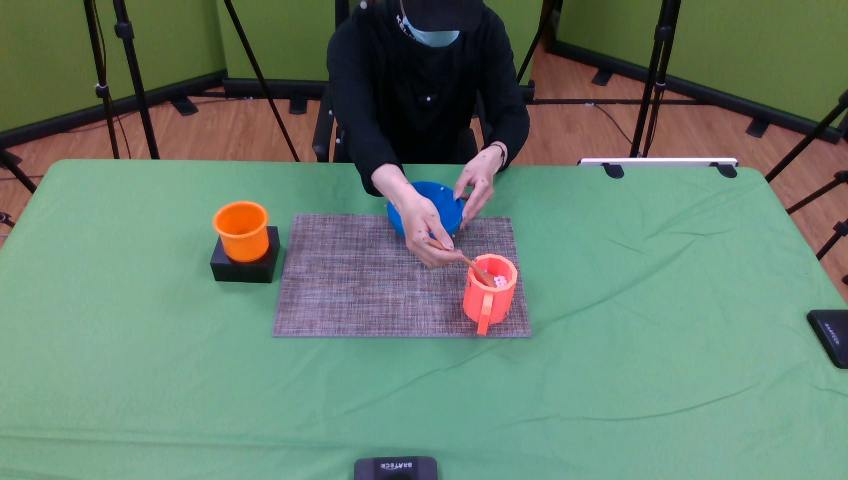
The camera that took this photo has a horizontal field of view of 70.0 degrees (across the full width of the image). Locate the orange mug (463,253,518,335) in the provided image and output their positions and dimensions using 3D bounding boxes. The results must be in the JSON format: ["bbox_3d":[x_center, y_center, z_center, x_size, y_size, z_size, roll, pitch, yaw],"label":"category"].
[{"bbox_3d":[0.113,0.098,1.050,0.083,0.101,0.125,9,41,5],"label":"orange mug"}]

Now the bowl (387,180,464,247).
[{"bbox_3d":[0.001,-0.040,1.190,0.151,0.077,0.150,2,46,-2],"label":"bowl"}]

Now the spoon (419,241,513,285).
[{"bbox_3d":[0.073,0.039,1.015,0.194,0.041,0.021,26,59,-23],"label":"spoon"}]
